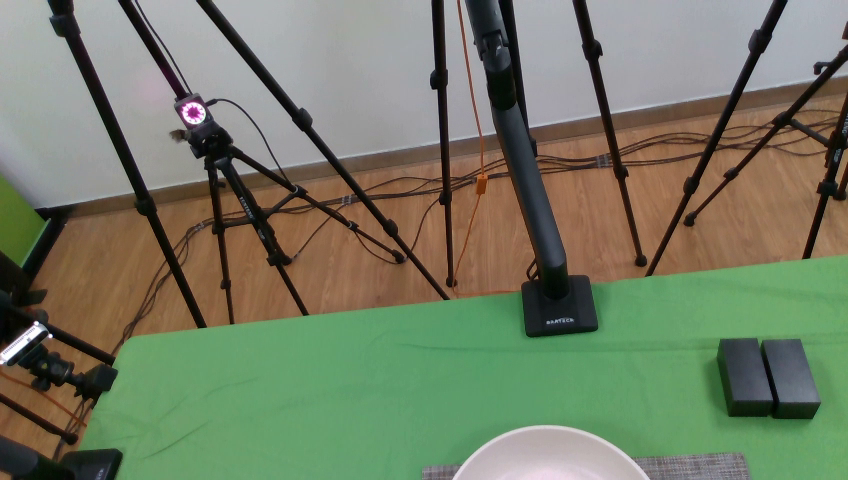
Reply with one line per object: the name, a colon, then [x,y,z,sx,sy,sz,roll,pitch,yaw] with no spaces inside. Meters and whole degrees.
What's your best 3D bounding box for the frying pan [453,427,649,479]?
frying pan: [0.149,0.453,0.692,0.306,0.104,0.483,-5,39,14]
